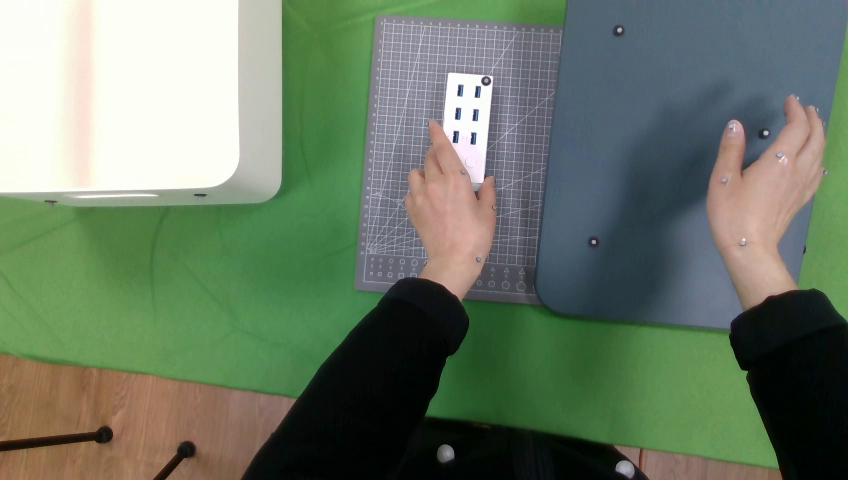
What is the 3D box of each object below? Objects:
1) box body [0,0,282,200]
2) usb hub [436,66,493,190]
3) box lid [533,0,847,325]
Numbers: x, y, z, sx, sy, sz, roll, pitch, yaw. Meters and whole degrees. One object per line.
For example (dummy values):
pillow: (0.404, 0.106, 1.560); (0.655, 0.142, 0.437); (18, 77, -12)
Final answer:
box body: (-0.277, -0.220, 0.587); (0.254, 0.160, 0.363); (-1, 87, 2)
usb hub: (0.042, -0.117, 0.631); (0.049, 0.025, 0.125); (6, 83, 3)
box lid: (0.255, -0.100, 0.596); (0.263, 0.015, 0.372); (5, 100, 3)
